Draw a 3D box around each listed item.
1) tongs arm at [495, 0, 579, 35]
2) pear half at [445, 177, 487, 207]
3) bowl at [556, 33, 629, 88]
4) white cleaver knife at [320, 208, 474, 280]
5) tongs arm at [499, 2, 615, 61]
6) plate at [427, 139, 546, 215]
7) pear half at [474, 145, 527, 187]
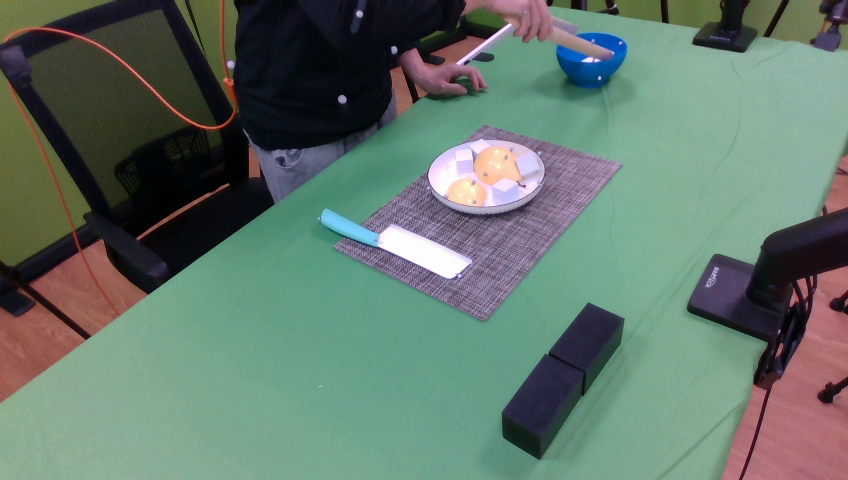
[{"bbox_3d":[0.228,-0.424,1.170,0.028,0.027,0.390,48,31,17],"label":"tongs arm"},{"bbox_3d":[0.073,-0.086,1.032,0.070,0.031,0.087,-20,36,-10],"label":"pear half"},{"bbox_3d":[0.362,-0.385,1.318,0.151,0.077,0.150,-4,41,4],"label":"bowl"},{"bbox_3d":[-0.053,0.001,0.978,0.284,0.021,0.066,23,40,26],"label":"white cleaver knife"},{"bbox_3d":[0.266,-0.386,1.147,0.388,0.026,0.050,-8,50,-51],"label":"tongs arm"},{"bbox_3d":[0.109,-0.106,1.058,0.207,0.039,0.206,-4,41,4],"label":"plate"},{"bbox_3d":[0.140,-0.129,1.059,0.076,0.056,0.109,-37,53,-24],"label":"pear half"}]
